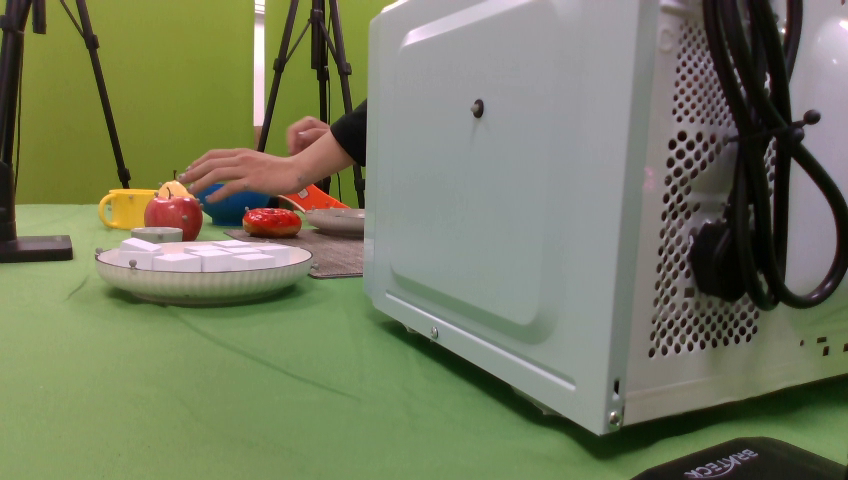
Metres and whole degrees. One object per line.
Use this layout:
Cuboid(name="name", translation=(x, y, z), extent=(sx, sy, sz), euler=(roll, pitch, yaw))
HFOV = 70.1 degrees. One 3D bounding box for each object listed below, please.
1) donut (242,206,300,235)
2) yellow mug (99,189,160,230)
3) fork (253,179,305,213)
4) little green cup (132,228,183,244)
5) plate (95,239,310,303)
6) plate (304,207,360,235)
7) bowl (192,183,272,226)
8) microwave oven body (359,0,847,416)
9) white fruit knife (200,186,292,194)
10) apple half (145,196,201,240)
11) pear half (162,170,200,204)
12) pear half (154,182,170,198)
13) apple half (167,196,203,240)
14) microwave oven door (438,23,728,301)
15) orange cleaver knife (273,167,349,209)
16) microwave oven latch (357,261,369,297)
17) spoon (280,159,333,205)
Cuboid(name="donut", translation=(-0.262, -0.032, 1.039), extent=(0.099, 0.048, 0.099), euler=(4, 10, 0))
Cuboid(name="yellow mug", translation=(-0.519, -0.055, 1.080), extent=(0.099, 0.064, 0.131), euler=(7, 10, 26))
Cuboid(name="fork", translation=(-0.294, -0.084, 1.293), extent=(0.206, 0.018, 0.028), euler=(29, 13, 26))
Cuboid(name="little green cup", translation=(-0.342, 0.006, 0.779), extent=(0.061, 0.038, 0.061), euler=(2, 8, 0))
Cuboid(name="plate", translation=(-0.224, 0.031, 0.629), extent=(0.208, 0.039, 0.207), euler=(2, 7, 0))
Cuboid(name="plate", translation=(-0.123, -0.037, 1.149), extent=(0.209, 0.038, 0.209), euler=(2, 8, 0))
Cuboid(name="bowl", translation=(-0.381, -0.071, 1.202), extent=(0.151, 0.077, 0.151), euler=(3, 7, 0))
Cuboid(name="microwave oven body", translation=(0.211, -0.047, 0.474), extent=(0.444, 0.260, 0.324), euler=(-1, 7, -28))
Cuboid(name="white fruit knife", translation=(-0.399, -0.111, 1.368), extent=(0.208, 0.016, 0.027), euler=(-4, -19, -29))
Cuboid(name="apple half", translation=(-0.377, -0.027, 0.891), extent=(0.080, 0.074, 0.053), euler=(8, 12, 18))
Cuboid(name="pear half", translation=(-0.399, -0.061, 1.002), extent=(0.056, 0.110, 0.076), euler=(2, 12, 2))
Cuboid(name="pear half", translation=(-0.435, -0.053, 1.006), extent=(0.031, 0.088, 0.070), euler=(3, 12, 0))
Cuboid(name="apple half", translation=(-0.365, -0.033, 0.928), extent=(0.081, 0.081, 0.033), euler=(5, 11, 18))
Cuboid(name="microwave oven door", translation=(0.181, -0.073, 0.621), extent=(0.358, 0.243, 0.039), euler=(-2, 8, -29))
Cuboid(name="orange cleaver knife", translation=(-0.237, -0.087, 1.358), extent=(0.211, 0.077, 0.012), euler=(32, 5, -3))
Cuboid(name="microwave oven latch", translation=(-0.019, 0.033, 0.530), extent=(0.079, 0.029, 0.030), euler=(-1, 7, -26))
Cuboid(name="spoon", translation=(-0.316, -0.159, 1.639), extent=(0.194, 0.022, 0.041), euler=(-49, 32, -20))
